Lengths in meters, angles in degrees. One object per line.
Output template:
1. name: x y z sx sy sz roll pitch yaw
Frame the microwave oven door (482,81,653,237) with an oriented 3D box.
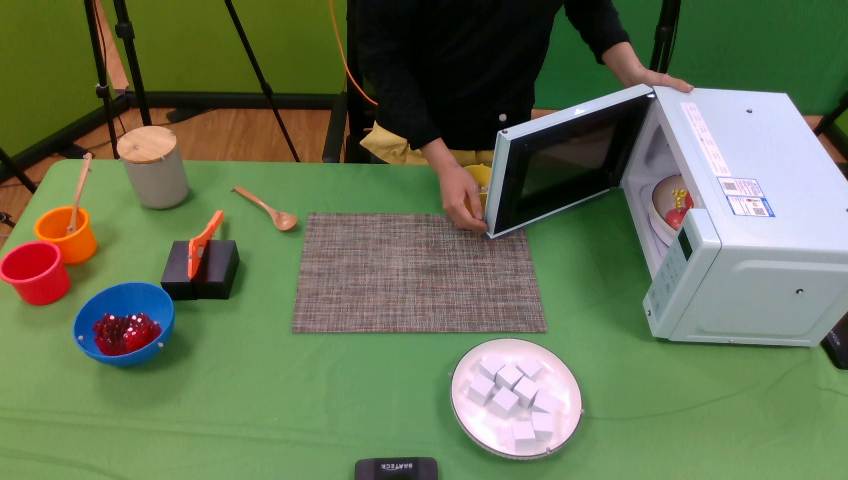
1. microwave oven door: 0.283 -0.160 1.190 0.356 0.245 0.039 -22 52 -22

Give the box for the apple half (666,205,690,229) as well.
1. apple half: 0.507 -0.046 1.168 0.081 0.033 0.081 4 46 -4

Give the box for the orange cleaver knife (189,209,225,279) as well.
1. orange cleaver knife: -0.401 0.002 1.122 0.012 0.077 0.210 4 23 -4

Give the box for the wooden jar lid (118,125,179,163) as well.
1. wooden jar lid: -0.528 -0.181 1.167 0.108 0.021 0.107 3 48 -4

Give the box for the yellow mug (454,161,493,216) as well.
1. yellow mug: 0.117 -0.119 1.287 0.100 0.064 0.130 9 45 1

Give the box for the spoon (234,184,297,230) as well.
1. spoon: -0.327 -0.073 1.239 0.193 0.022 0.041 34 72 25

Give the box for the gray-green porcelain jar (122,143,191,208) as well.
1. gray-green porcelain jar: -0.531 -0.137 1.214 0.106 0.127 0.105 2 47 -2

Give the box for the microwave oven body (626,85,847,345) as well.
1. microwave oven body: 0.568 -0.054 1.116 0.326 0.261 0.439 2 46 -1

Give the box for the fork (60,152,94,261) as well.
1. fork: -0.638 -0.063 1.119 0.028 0.018 0.207 12 90 5

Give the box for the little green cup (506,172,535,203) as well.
1. little green cup: 0.205 -0.111 1.301 0.061 0.039 0.061 3 47 -3

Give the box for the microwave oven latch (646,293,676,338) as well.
1. microwave oven latch: 0.412 0.133 1.060 0.030 0.029 0.078 3 46 0

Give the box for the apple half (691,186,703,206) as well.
1. apple half: 0.570 -0.089 1.194 0.081 0.053 0.074 0 33 14

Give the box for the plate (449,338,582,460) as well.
1. plate: 0.141 0.251 0.956 0.208 0.039 0.206 2 46 -2

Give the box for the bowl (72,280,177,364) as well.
1. bowl: -0.473 0.147 0.982 0.151 0.077 0.150 2 46 -2

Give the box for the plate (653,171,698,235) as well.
1. plate: 0.551 -0.054 1.188 0.209 0.038 0.208 2 47 -2
